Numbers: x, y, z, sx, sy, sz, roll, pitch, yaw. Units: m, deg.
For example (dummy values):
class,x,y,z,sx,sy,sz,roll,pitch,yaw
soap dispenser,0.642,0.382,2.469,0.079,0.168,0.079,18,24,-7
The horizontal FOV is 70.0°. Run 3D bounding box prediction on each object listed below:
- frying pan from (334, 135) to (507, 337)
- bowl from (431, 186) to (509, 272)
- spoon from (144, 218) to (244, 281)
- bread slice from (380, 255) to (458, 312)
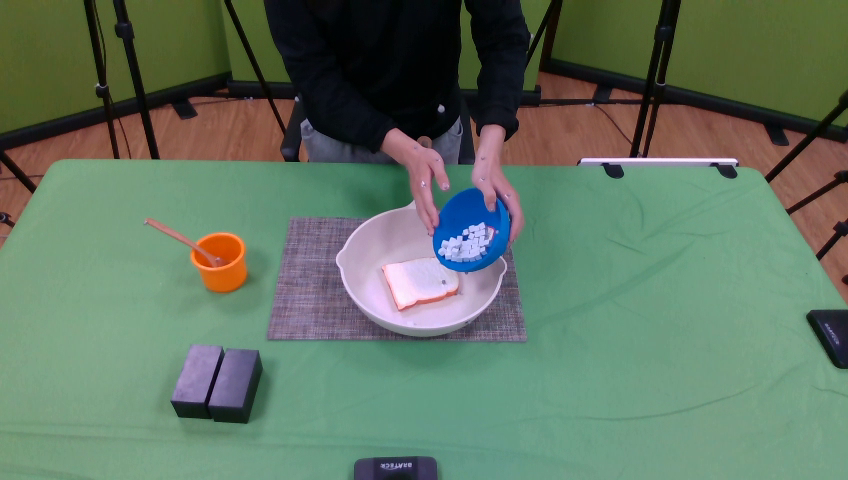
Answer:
class,x,y,z,sx,sy,sz,roll,pitch,yaw
frying pan,-0.004,-0.026,1.160,0.307,0.103,0.485,4,55,-2
bowl,0.093,-0.010,1.044,0.077,0.151,0.150,23,29,-44
spoon,-0.401,0.015,1.064,0.195,0.021,0.041,41,36,-29
bread slice,-0.005,0.074,1.119,0.134,0.018,0.106,-16,50,-16
